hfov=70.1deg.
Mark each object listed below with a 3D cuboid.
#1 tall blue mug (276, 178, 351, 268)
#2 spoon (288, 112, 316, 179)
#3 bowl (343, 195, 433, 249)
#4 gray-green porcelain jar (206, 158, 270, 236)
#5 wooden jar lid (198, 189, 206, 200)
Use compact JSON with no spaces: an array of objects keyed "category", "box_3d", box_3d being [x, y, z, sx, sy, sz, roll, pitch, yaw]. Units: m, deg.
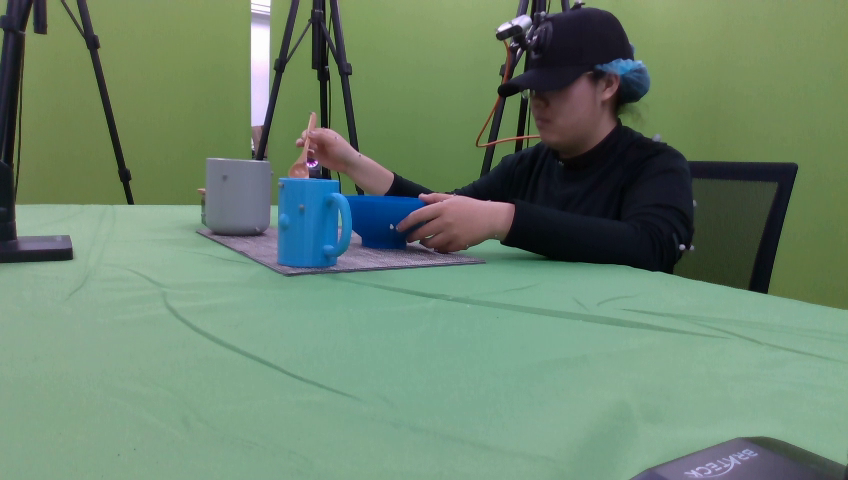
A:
[{"category":"tall blue mug","box_3d":[-0.133,-0.022,0.767,0.107,0.108,0.078,4,7,12]},{"category":"spoon","box_3d":[-0.241,-0.190,1.235,0.042,0.193,0.021,17,-31,-17]},{"category":"bowl","box_3d":[-0.063,-0.029,0.971,0.151,0.077,0.151,3,7,0]},{"category":"gray-green porcelain jar","box_3d":[-0.317,-0.074,1.031,0.106,0.126,0.106,3,7,0]},{"category":"wooden jar lid","box_3d":[-0.382,-0.088,1.175,0.108,0.020,0.108,3,8,0]}]
